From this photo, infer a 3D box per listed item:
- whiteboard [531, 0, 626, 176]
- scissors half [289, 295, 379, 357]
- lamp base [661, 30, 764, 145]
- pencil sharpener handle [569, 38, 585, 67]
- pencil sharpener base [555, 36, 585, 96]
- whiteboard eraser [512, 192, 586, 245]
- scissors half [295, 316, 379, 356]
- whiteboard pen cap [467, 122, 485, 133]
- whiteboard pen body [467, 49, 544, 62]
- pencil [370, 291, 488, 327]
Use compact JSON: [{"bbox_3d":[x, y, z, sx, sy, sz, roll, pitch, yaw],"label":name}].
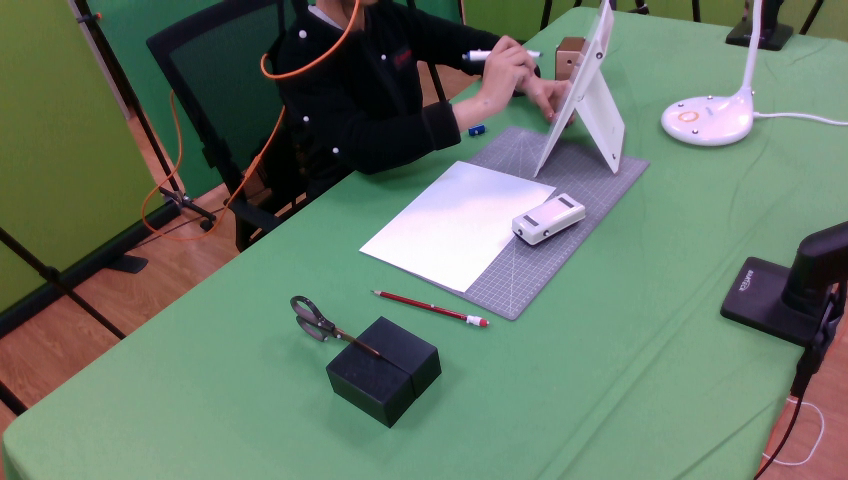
[{"bbox_3d":[0.321,-0.258,1.050,0.144,0.306,0.217,22,45,5],"label":"whiteboard"},{"bbox_3d":[-0.122,0.114,0.803,0.174,0.040,0.013,26,50,32],"label":"scissors half"},{"bbox_3d":[0.535,-0.287,1.096,0.179,0.181,0.159,-10,40,-4],"label":"lamp base"},{"bbox_3d":[0.332,-0.413,1.318,0.036,0.068,0.030,19,46,13],"label":"pencil sharpener handle"},{"bbox_3d":[0.317,-0.371,1.290,0.061,0.107,0.076,10,44,22],"label":"pencil sharpener base"},{"bbox_3d":[0.199,-0.032,0.962,0.113,0.042,0.055,-27,42,-20],"label":"whiteboard eraser"},{"bbox_3d":[-0.119,0.131,0.813,0.174,0.040,0.013,9,34,45],"label":"scissors half"},{"bbox_3d":[0.106,-0.229,1.235,0.033,0.018,0.018,-16,41,-6],"label":"whiteboard pen cap"},{"bbox_3d":[0.150,-0.339,1.108,0.141,0.017,0.017,-4,40,1],"label":"whiteboard pen body"},{"bbox_3d":[0.003,0.097,0.877,0.193,0.012,0.012,13,45,26],"label":"pencil"}]
